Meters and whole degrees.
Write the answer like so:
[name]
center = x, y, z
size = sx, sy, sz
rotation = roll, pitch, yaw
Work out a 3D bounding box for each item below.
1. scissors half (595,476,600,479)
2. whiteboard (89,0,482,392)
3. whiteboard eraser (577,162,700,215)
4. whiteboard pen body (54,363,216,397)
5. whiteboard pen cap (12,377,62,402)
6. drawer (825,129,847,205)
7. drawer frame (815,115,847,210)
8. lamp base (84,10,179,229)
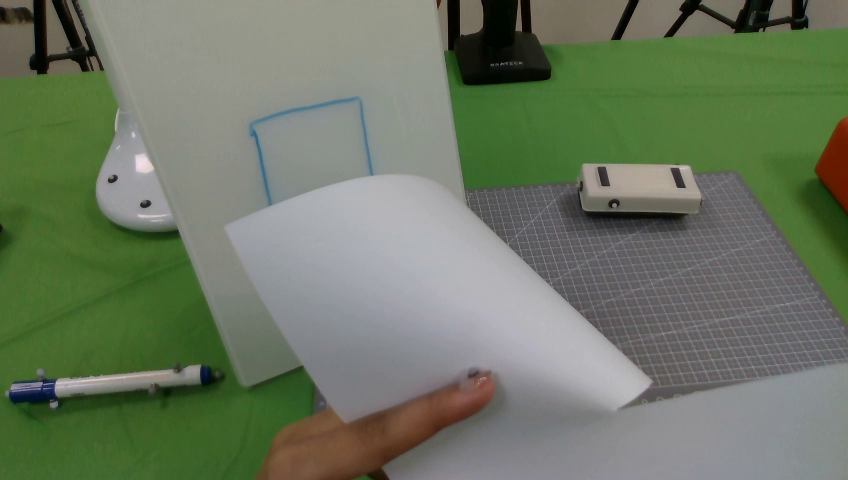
[scissors half]
center = 0.108, 0.176, 0.240
size = 0.013, 0.040, 0.174
rotation = -26, 81, 1
[whiteboard]
center = -0.097, -0.072, 0.499
size = 0.217, 0.308, 0.142
rotation = -20, 28, -16
[whiteboard eraser]
center = 0.215, -0.051, 0.613
size = 0.112, 0.042, 0.055
rotation = 1, 43, 2
[whiteboard pen body]
center = -0.238, 0.111, 0.476
size = 0.141, 0.017, 0.017
rotation = -4, 44, -8
[whiteboard pen cap]
center = -0.297, 0.116, 0.468
size = 0.033, 0.018, 0.018
rotation = -2, 44, -10
[drawer]
center = 0.523, -0.026, 0.557
size = 0.194, 0.074, 0.209
rotation = -3, 44, 0
[drawer frame]
center = 0.522, -0.032, 0.561
size = 0.202, 0.083, 0.211
rotation = -4, 44, -1
[lamp base]
center = -0.279, -0.128, 0.607
size = 0.178, 0.182, 0.160
rotation = 25, 50, 28
